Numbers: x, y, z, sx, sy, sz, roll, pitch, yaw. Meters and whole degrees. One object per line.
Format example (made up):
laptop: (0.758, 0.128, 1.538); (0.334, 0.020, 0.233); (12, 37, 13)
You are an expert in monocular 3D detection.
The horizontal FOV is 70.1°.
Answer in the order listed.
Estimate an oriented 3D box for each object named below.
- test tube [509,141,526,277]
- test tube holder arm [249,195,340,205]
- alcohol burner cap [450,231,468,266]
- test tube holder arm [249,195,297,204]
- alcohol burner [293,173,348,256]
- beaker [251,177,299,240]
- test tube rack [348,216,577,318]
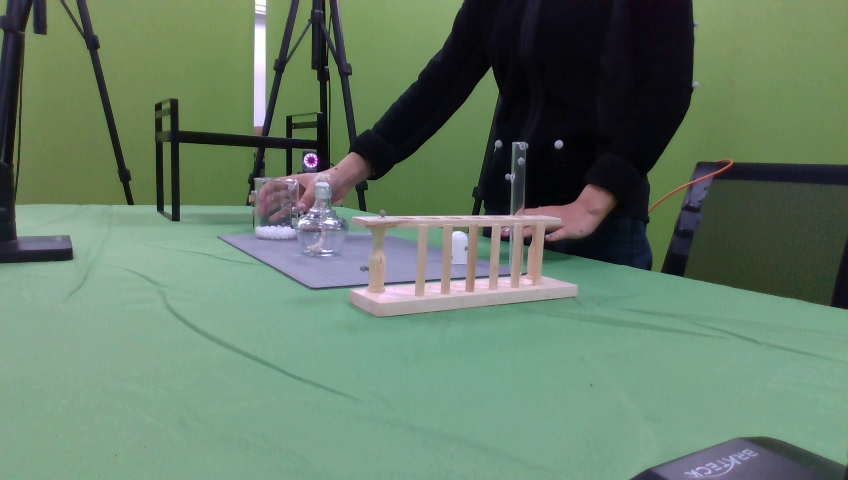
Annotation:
test tube: (0.102, -0.032, 0.662); (0.017, 0.150, 0.017); (0, 10, 0)
test tube holder arm: (-0.247, -0.077, 1.169); (0.179, 0.015, 0.013); (0, 9, -31)
alcohol burner cap: (0.046, 0.012, 0.839); (0.034, 0.048, 0.034); (3, 5, 0)
test tube holder arm: (-0.284, -0.076, 1.141); (0.088, 0.015, 0.010); (0, 9, -29)
alcohol burner: (-0.146, -0.036, 0.859); (0.078, 0.119, 0.078); (4, 8, 0)
beaker: (-0.244, -0.052, 1.004); (0.083, 0.100, 0.074); (9, 11, 37)
test tube rack: (0.048, 0.021, 0.619); (0.244, 0.085, 0.066); (-2, 8, -31)
